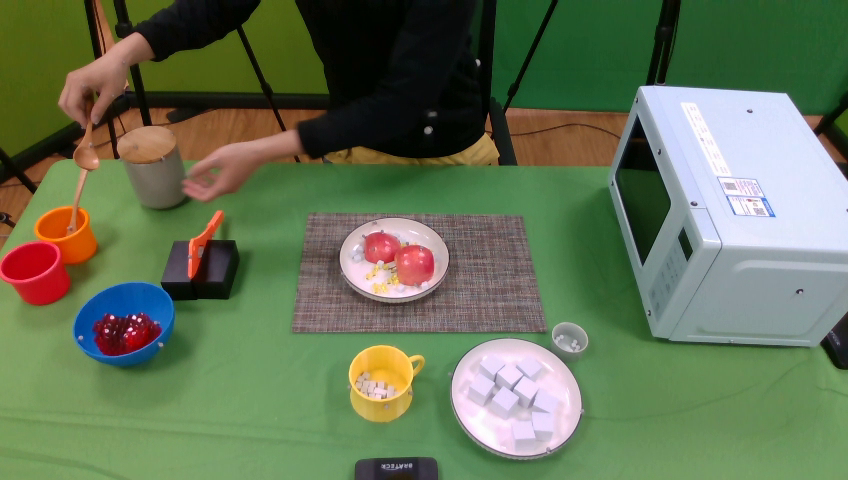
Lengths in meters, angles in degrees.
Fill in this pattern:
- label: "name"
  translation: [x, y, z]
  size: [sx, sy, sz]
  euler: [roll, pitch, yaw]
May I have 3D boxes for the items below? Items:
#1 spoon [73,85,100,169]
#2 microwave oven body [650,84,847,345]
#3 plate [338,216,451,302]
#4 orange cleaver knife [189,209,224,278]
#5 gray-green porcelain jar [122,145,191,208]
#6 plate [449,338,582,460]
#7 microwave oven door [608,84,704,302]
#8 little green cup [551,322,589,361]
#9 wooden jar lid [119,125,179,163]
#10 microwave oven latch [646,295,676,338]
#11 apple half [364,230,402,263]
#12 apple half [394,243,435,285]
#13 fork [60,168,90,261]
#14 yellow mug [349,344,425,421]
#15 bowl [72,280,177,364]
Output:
- label: "spoon"
  translation: [-0.582, -0.198, 1.053]
  size: [0.042, 0.021, 0.192]
  euler: [14, 53, -41]
- label: "microwave oven body"
  translation: [0.569, -0.054, 1.116]
  size: [0.326, 0.261, 0.439]
  euler: [2, 46, -1]
- label: "plate"
  translation: [-0.054, 0.038, 1.138]
  size: [0.209, 0.038, 0.208]
  euler: [2, 46, -2]
- label: "orange cleaver knife"
  translation: [-0.401, 0.002, 1.122]
  size: [0.012, 0.077, 0.210]
  euler: [4, 23, -4]
- label: "gray-green porcelain jar"
  translation: [-0.531, -0.136, 1.213]
  size: [0.106, 0.127, 0.105]
  euler: [2, 47, -2]
- label: "plate"
  translation: [0.141, 0.251, 0.955]
  size: [0.208, 0.039, 0.206]
  euler: [2, 47, -2]
- label: "microwave oven door"
  translation: [0.424, -0.096, 1.138]
  size: [0.039, 0.245, 0.353]
  euler: [2, 46, -1]
- label: "little green cup"
  translation: [0.247, 0.175, 1.033]
  size: [0.061, 0.039, 0.061]
  euler: [2, 45, -2]
- label: "wooden jar lid"
  translation: [-0.528, -0.181, 1.167]
  size: [0.108, 0.021, 0.107]
  euler: [4, 48, -4]
- label: "microwave oven latch"
  translation: [0.413, 0.133, 1.060]
  size: [0.030, 0.029, 0.078]
  euler: [4, 46, 1]
- label: "apple half"
  translation: [-0.079, 0.005, 1.159]
  size: [0.081, 0.033, 0.081]
  euler: [3, 49, -3]
- label: "apple half"
  translation: [-0.017, 0.036, 1.121]
  size: [0.075, 0.053, 0.080]
  euler: [1, 46, -6]
- label: "fork"
  translation: [-0.638, -0.063, 1.119]
  size: [0.028, 0.018, 0.207]
  euler: [12, 90, 7]
- label: "yellow mug"
  translation: [-0.054, 0.217, 0.954]
  size: [0.131, 0.064, 0.099]
  euler: [-24, 53, -25]
- label: "bowl"
  translation: [-0.472, 0.147, 0.982]
  size: [0.151, 0.077, 0.150]
  euler: [2, 46, -2]
